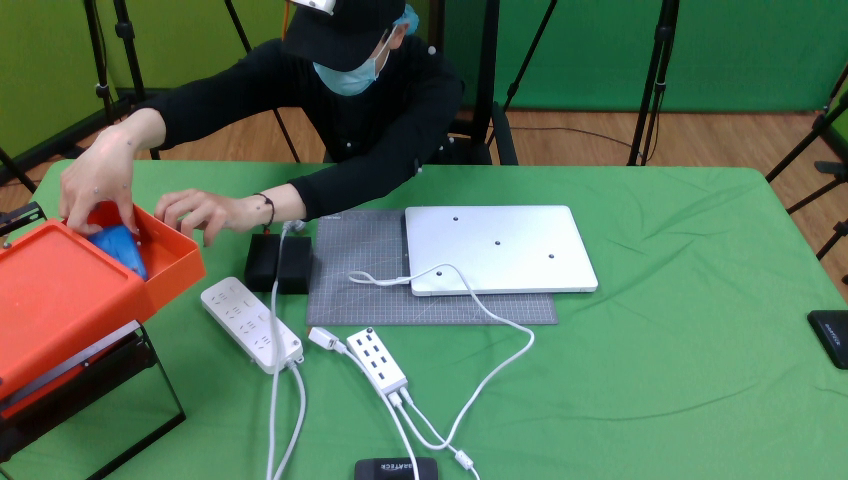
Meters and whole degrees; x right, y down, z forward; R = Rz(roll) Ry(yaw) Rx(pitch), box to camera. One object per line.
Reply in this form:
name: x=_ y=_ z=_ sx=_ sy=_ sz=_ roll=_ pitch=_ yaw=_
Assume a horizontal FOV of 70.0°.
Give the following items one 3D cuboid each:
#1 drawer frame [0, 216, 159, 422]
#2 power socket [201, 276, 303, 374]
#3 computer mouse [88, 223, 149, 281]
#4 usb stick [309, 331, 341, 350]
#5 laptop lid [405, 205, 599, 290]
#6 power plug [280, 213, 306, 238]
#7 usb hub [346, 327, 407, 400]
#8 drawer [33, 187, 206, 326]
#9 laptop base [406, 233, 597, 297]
drawer frame: x=-0.500 y=0.091 z=0.783 sx=0.201 sy=0.083 sz=0.213 roll=27 pitch=51 yaw=20
power socket: x=-0.296 y=0.141 z=1.034 sx=0.225 sy=0.033 sz=0.072 roll=38 pitch=55 yaw=27
computer mouse: x=-0.441 y=0.021 z=0.872 sx=0.063 sy=0.041 sz=0.116 roll=-18 pitch=58 yaw=-23
usb stick: x=-0.172 y=0.167 z=1.020 sx=0.059 sy=0.021 sz=0.027 roll=11 pitch=3 yaw=25
laptop lid: x=0.143 y=0.008 z=1.189 sx=0.357 sy=0.013 sz=0.240 roll=0 pitch=44 yaw=-5
power plug: x=-0.260 y=-0.021 z=1.184 sx=0.035 sy=0.053 sz=0.072 roll=12 pitch=56 yaw=33
usb hub: x=-0.078 y=0.202 z=0.998 sx=0.049 sy=0.025 sz=0.124 roll=-23 pitch=53 yaw=-24
drawer: x=-0.450 y=0.042 z=0.837 sx=0.194 sy=0.073 sz=0.211 roll=29 pitch=51 yaw=22
laptop base: x=0.143 y=0.018 z=1.196 sx=0.355 sy=0.023 sz=0.234 roll=-1 pitch=43 yaw=-6
